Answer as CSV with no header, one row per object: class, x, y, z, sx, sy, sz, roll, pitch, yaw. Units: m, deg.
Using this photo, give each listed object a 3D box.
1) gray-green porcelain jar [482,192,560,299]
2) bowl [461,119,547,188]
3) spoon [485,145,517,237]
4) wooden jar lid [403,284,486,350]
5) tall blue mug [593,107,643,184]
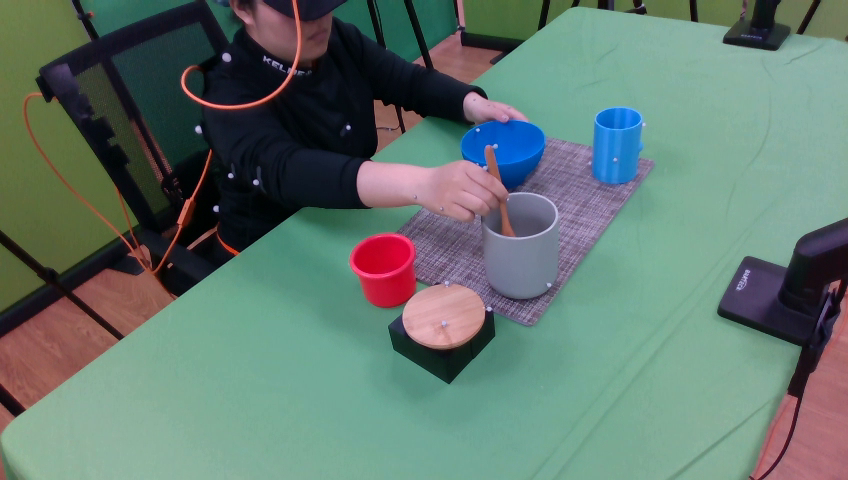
gray-green porcelain jar,0.139,0.012,0.858,0.106,0.127,0.105,-6,40,5
bowl,0.144,-0.146,1.082,0.151,0.077,0.150,-6,40,5
spoon,0.106,-0.041,0.814,0.041,0.194,0.021,-1,31,29
wooden jar lid,0.027,0.101,0.786,0.108,0.021,0.108,-5,39,5
tall blue mug,0.330,-0.172,1.052,0.078,0.108,0.106,-12,40,0
